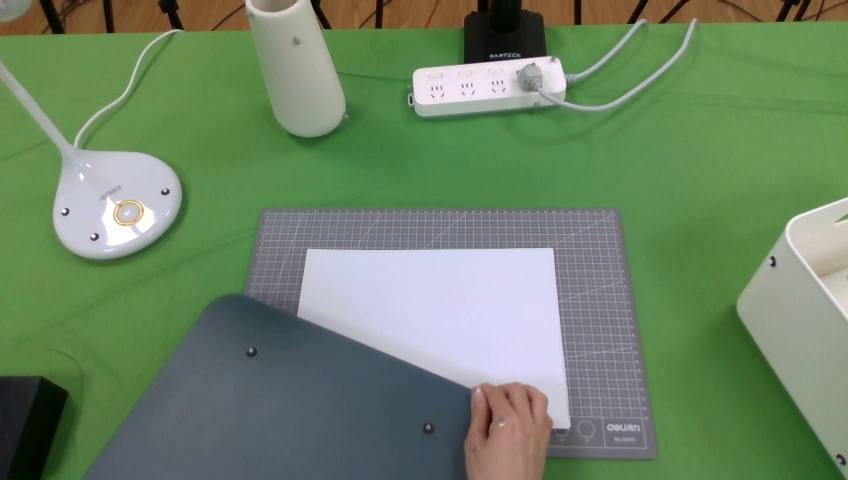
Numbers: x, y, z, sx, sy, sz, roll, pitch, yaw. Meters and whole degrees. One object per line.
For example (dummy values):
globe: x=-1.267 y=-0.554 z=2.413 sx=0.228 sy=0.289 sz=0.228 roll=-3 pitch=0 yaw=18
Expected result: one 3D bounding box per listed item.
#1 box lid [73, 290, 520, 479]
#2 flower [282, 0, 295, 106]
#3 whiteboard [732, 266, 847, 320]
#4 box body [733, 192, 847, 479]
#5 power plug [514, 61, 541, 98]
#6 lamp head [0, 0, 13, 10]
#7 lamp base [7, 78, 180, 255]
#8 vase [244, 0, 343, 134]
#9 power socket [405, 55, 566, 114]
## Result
box lid: x=-0.121 y=0.205 z=0.572 sx=0.370 sy=0.015 sz=0.262 roll=19 pitch=59 yaw=16
flower: x=-0.150 y=-0.262 z=0.692 sx=0.044 sy=0.363 sz=0.038 roll=-38 pitch=81 yaw=-27
whiteboard: x=0.496 y=0.122 z=0.561 sx=0.217 sy=0.145 sz=0.302 roll=-18 pitch=59 yaw=-10
box body: x=0.496 y=0.127 z=0.545 sx=0.254 sy=0.162 sz=0.360 roll=-18 pitch=60 yaw=-8
power plug: x=0.137 y=-0.207 z=0.811 sx=0.035 sy=0.053 sz=0.072 roll=5 pitch=66 yaw=6
lamp head: x=-0.374 y=-0.240 z=0.460 sx=0.124 sy=0.112 sz=0.112 roll=41 pitch=63 yaw=-18
lamp base: x=-0.408 y=-0.097 z=0.714 sx=0.178 sy=0.182 sz=0.160 roll=30 pitch=65 yaw=22
vase: x=-0.165 y=-0.227 z=0.767 sx=0.098 sy=0.202 sz=0.097 roll=-2 pitch=59 yaw=4
power socket: x=0.086 y=-0.217 z=0.846 sx=0.227 sy=0.033 sz=0.071 roll=-4 pitch=60 yaw=0
